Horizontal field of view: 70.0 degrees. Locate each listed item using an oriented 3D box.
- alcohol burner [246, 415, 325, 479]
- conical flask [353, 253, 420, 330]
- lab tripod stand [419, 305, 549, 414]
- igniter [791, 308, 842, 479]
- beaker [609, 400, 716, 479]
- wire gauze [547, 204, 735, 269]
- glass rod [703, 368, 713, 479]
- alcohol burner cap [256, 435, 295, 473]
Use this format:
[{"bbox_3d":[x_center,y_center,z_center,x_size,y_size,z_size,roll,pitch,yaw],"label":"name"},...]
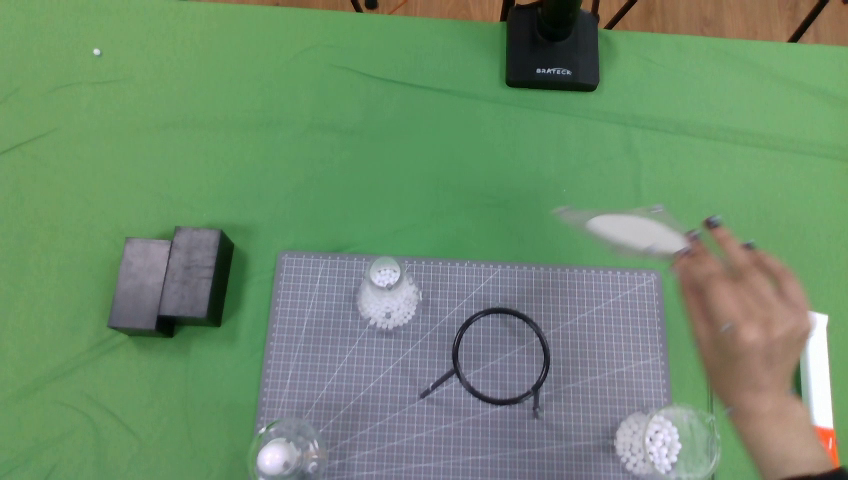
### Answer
[{"bbox_3d":[-0.138,0.208,0.586,0.078,0.120,0.077,0,70,1],"label":"alcohol burner"},{"bbox_3d":[-0.042,0.048,0.637,0.075,0.122,0.075,0,71,-1],"label":"conical flask"},{"bbox_3d":[0.064,0.126,0.609,0.148,0.132,0.147,0,73,-1],"label":"lab tripod stand"},{"bbox_3d":[0.420,0.210,0.652,0.057,0.025,0.275,12,71,-9],"label":"igniter"},{"bbox_3d":[0.236,0.201,0.608,0.084,0.101,0.073,-33,75,-12],"label":"beaker"},{"bbox_3d":[0.191,-0.008,0.546,0.125,0.120,0.011,2,115,-17],"label":"wire gauze"},{"bbox_3d":[0.306,0.238,0.650,0.008,0.008,0.198,7,71,0],"label":"glass rod"},{"bbox_3d":[-0.137,0.195,0.552,0.034,0.048,0.033,1,75,-5],"label":"alcohol burner cap"}]
